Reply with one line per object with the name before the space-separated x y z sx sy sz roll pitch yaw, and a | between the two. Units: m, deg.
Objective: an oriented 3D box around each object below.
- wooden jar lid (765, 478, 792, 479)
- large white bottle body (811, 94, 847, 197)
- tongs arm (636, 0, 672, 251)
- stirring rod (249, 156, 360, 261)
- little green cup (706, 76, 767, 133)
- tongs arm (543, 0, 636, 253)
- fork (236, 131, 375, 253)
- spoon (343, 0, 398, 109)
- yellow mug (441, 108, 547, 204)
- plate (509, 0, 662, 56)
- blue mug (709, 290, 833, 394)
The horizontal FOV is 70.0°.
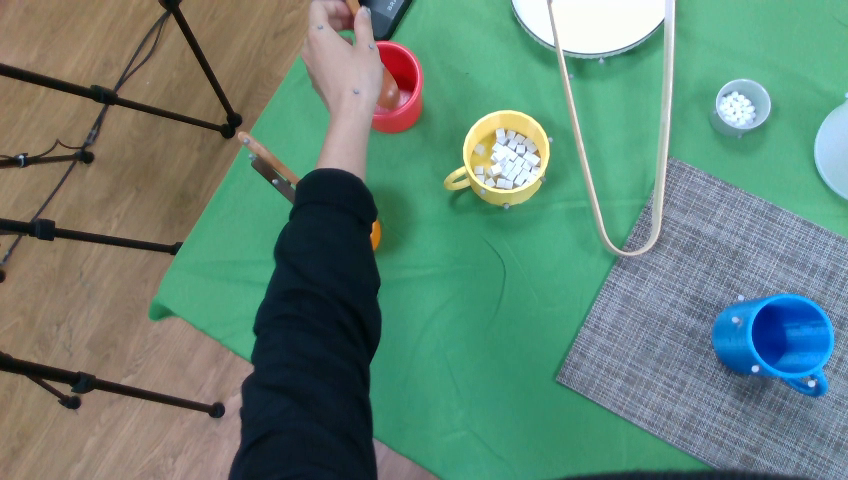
wooden jar lid | 0.382 0.309 0.647 0.108 0.021 0.108 -1 83 9
large white bottle body | 0.507 -0.121 0.619 0.130 0.185 0.130 -1 80 7
tongs arm | 0.273 -0.178 0.713 0.028 0.028 0.387 4 88 -1
stirring rod | -0.133 -0.032 0.696 0.006 0.178 0.014 11 61 52
little green cup | 0.366 -0.157 0.716 0.061 0.039 0.061 -1 82 7
tongs arm | 0.189 -0.171 0.718 0.051 0.026 0.384 -10 87 1
fork | -0.132 -0.053 0.697 0.028 0.018 0.209 -49 123 -4
spoon | -0.069 -0.227 0.672 0.021 0.196 0.041 22 61 32
yellow mug | 0.080 -0.092 0.723 0.131 0.064 0.099 -24 80 3
plate | 0.207 -0.325 0.761 0.207 0.039 0.207 -1 81 6
blue mug | 0.369 0.111 0.634 0.082 0.106 0.116 -36 79 0
